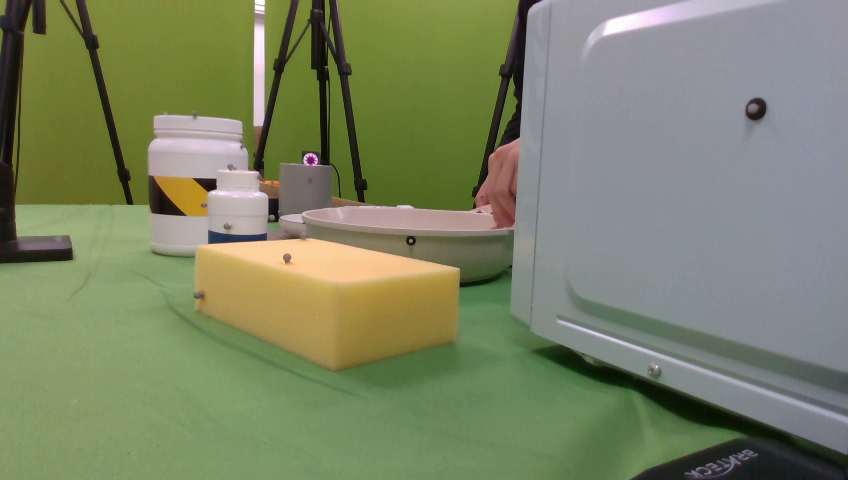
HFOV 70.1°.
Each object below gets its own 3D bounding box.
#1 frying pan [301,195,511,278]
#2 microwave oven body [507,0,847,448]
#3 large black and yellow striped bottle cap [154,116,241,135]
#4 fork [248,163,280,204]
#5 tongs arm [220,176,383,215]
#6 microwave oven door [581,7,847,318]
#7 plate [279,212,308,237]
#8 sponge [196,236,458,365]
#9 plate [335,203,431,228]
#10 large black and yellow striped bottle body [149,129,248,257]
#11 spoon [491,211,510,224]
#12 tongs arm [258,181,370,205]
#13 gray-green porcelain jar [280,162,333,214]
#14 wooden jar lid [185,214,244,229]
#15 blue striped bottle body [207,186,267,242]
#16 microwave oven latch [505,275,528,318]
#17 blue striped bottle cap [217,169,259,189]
[{"bbox_3d":[0.050,-0.028,0.864,0.305,0.102,0.490,8,18,35],"label":"frying pan"},{"bbox_3d":[0.331,-0.042,0.425,0.444,0.260,0.324,-2,8,-31],"label":"microwave oven body"},{"bbox_3d":[-0.314,-0.158,0.843,0.115,0.019,0.115,3,7,0],"label":"large black and yellow striped bottle cap"},{"bbox_3d":[-0.396,-0.143,1.486,0.028,0.018,0.208,20,-26,45],"label":"fork"},{"bbox_3d":[-0.285,-0.104,1.445,0.389,0.027,0.028,9,-4,-23],"label":"tongs arm"},{"bbox_3d":[0.295,-0.067,0.569,0.358,0.243,0.039,-3,8,-31],"label":"microwave oven door"},{"bbox_3d":[-0.139,-0.022,1.021,0.209,0.038,0.209,2,8,0],"label":"plate"},{"bbox_3d":[-0.087,0.039,0.500,0.206,0.061,0.119,8,9,44],"label":"sponge"},{"bbox_3d":[-0.089,-0.053,1.309,0.208,0.039,0.207,2,8,0],"label":"plate"},{"bbox_3d":[-0.315,-0.075,0.854,0.131,0.184,0.130,2,7,0],"label":"large black and yellow striped bottle body"},{"bbox_3d":[0.106,-0.031,0.762,0.022,0.041,0.193,-26,-12,-47],"label":"spoon"},{"bbox_3d":[-0.241,-0.095,1.373,0.387,0.026,0.050,9,0,-37],"label":"tongs arm"},{"bbox_3d":[-0.238,-0.092,1.221,0.106,0.126,0.106,2,7,0],"label":"gray-green porcelain jar"},{"bbox_3d":[-0.404,-0.037,1.169,0.108,0.020,0.108,3,7,0],"label":"wooden jar lid"},{"bbox_3d":[-0.204,-0.016,0.663,0.063,0.120,0.063,2,7,0],"label":"blue striped bottle body"},{"bbox_3d":[0.100,0.042,0.472,0.079,0.029,0.030,-2,8,-30],"label":"microwave oven latch"},{"bbox_3d":[-0.202,-0.067,0.656,0.044,0.020,0.044,0,10,0],"label":"blue striped bottle cap"}]
